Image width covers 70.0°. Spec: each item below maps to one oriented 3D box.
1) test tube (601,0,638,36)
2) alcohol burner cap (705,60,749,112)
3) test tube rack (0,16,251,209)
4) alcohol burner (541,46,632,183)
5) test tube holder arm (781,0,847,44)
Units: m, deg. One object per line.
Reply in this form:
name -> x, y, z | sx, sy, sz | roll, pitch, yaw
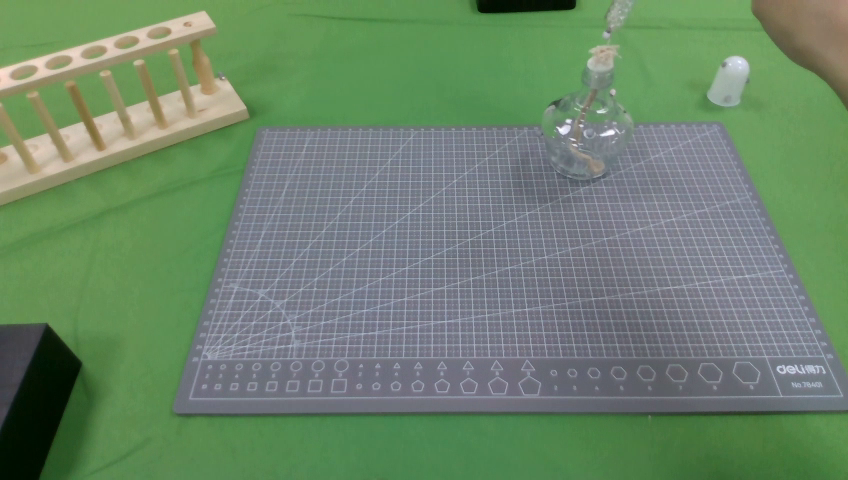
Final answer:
test tube -> 0.154, -0.198, 0.388 | 0.017, 0.151, 0.017 | 10, 50, -12
alcohol burner cap -> 0.304, -0.155, 0.601 | 0.034, 0.048, 0.033 | -1, 48, 2
test tube rack -> -0.294, -0.119, 0.553 | 0.242, 0.086, 0.066 | -25, 52, -19
alcohol burner -> 0.140, -0.108, 0.511 | 0.078, 0.120, 0.077 | 0, 47, 1
test tube holder arm -> 0.207, -0.160, 0.366 | 0.177, 0.015, 0.013 | 43, 56, 16
